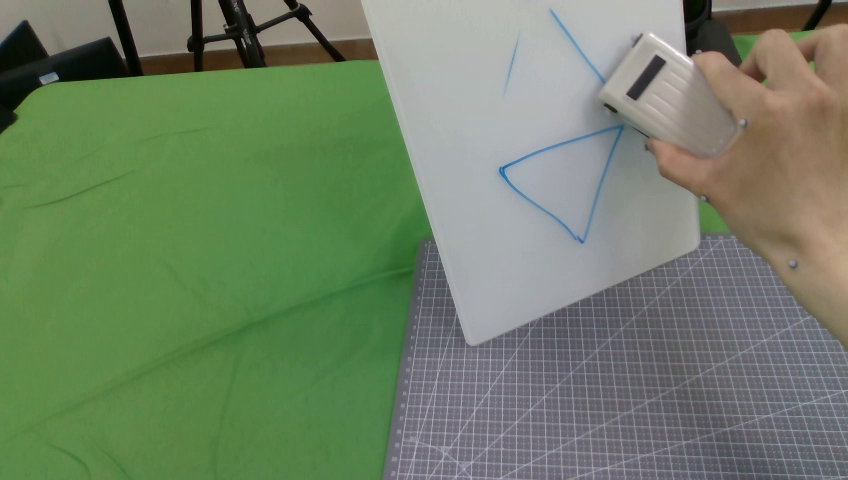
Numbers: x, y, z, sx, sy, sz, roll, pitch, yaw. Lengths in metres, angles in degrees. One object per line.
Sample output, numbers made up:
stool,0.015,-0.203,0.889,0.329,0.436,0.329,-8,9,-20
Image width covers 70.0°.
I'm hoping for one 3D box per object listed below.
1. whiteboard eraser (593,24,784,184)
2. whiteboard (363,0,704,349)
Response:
whiteboard eraser,0.174,-0.090,0.406,0.112,0.056,0.042,37,18,5
whiteboard,0.075,-0.110,0.479,0.217,0.308,0.142,-22,27,-8
